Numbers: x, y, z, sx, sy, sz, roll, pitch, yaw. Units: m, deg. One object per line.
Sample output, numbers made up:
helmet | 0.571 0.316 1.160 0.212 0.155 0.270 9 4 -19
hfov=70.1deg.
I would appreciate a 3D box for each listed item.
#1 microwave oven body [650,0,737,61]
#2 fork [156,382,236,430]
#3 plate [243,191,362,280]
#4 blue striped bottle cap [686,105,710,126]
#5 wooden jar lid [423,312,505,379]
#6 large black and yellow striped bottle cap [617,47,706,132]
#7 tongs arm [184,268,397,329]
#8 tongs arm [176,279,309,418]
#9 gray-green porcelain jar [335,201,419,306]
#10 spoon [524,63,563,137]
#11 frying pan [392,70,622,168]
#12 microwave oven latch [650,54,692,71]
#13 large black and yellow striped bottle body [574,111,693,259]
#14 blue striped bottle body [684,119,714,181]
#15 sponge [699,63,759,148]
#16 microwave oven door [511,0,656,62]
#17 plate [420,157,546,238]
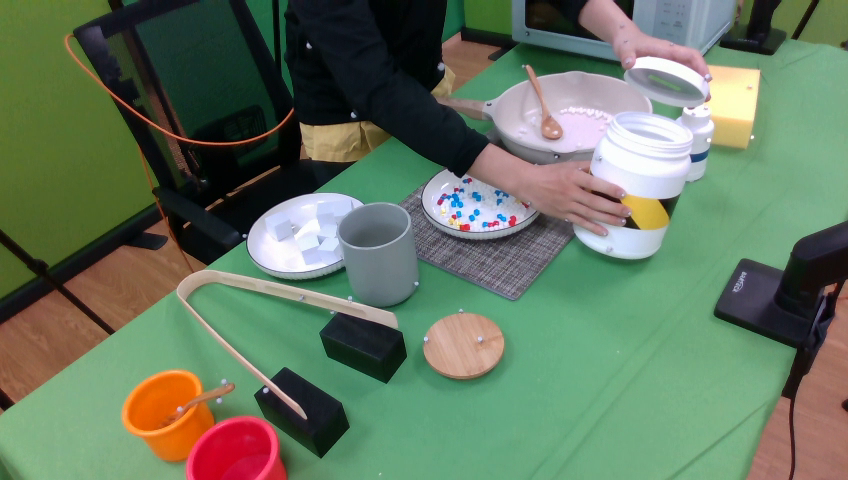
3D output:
microwave oven body | 0.475 -0.602 1.411 0.438 0.261 0.327 23 50 32
fork | -0.262 0.189 0.690 0.018 0.206 0.028 49 43 -7
plate | -0.188 -0.005 0.992 0.207 0.039 0.206 -4 40 4
blue striped bottle cap | 0.444 -0.205 0.989 0.044 0.021 0.044 -2 41 2
wooden jar lid | 0.053 0.142 0.800 0.108 0.021 0.108 -5 39 4
large black and yellow striped bottle cap | 0.321 -0.203 0.822 0.114 0.115 0.019 17 38 26
tongs arm | -0.202 0.084 0.848 0.382 0.027 0.051 11 45 35
tongs arm | -0.254 0.132 0.801 0.028 0.028 0.384 -41 40 -23
gray-green porcelain jar | -0.064 0.024 0.872 0.106 0.127 0.105 -4 41 4
spoon | 0.234 -0.281 1.203 0.041 0.022 0.192 -13 68 0
frying pan | 0.176 -0.248 1.165 0.487 0.103 0.306 12 42 9
microwave oven latch | 0.530 -0.386 1.301 0.078 0.029 0.030 23 50 32
large black and yellow striped bottle body | 0.301 -0.080 0.871 0.131 0.184 0.130 6 34 -3
blue striped bottle body | 0.450 -0.165 1.022 0.063 0.121 0.063 -5 41 5
sponge | 0.569 -0.263 1.164 0.117 0.061 0.207 13 45 22
microwave oven door | 0.351 -0.540 1.349 0.353 0.245 0.039 24 50 31
plate | 0.099 -0.068 1.017 0.209 0.038 0.208 -4 40 4
